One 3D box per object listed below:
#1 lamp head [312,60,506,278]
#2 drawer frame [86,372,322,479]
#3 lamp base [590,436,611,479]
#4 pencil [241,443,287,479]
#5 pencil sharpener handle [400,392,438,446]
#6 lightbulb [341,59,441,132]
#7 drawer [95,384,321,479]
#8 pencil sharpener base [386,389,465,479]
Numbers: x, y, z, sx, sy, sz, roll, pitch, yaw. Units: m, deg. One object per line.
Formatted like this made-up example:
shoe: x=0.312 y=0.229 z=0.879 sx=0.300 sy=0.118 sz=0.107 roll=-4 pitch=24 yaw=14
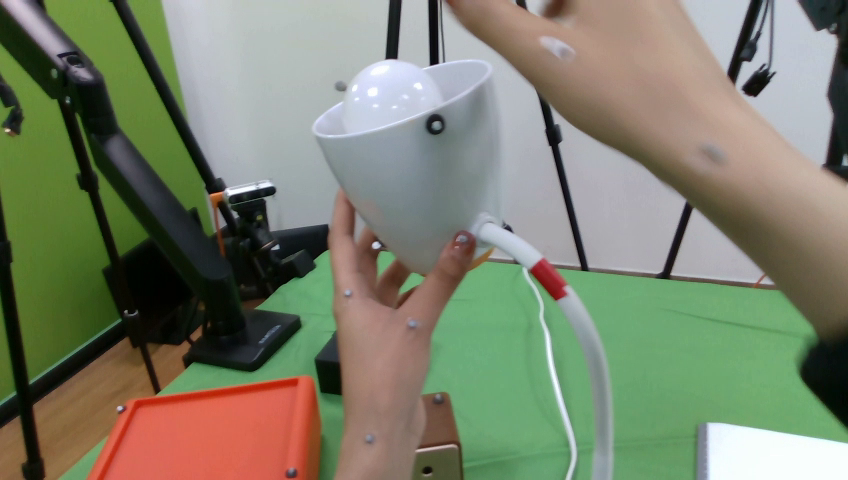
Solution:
lamp head: x=0.005 y=-0.037 z=0.377 sx=0.112 sy=0.124 sz=0.111 roll=-19 pitch=22 yaw=8
drawer frame: x=-0.203 y=0.229 z=0.562 sx=0.202 sy=0.083 sz=0.211 roll=-8 pitch=24 yaw=-4
lamp base: x=0.123 y=0.230 z=0.380 sx=0.161 sy=0.181 sz=0.177 roll=-9 pitch=22 yaw=-6
pencil: x=-0.196 y=0.248 z=0.533 sx=0.012 sy=0.012 sz=0.194 roll=18 pitch=46 yaw=41
pencil sharpener handle: x=-0.007 y=0.169 z=0.595 sx=0.036 sy=0.068 sz=0.030 roll=-2 pitch=25 yaw=-6
lightbulb: x=-0.010 y=-0.057 z=0.370 sx=0.059 sy=0.109 sz=0.059 roll=-19 pitch=33 yaw=13
drawer: x=-0.201 y=0.232 z=0.560 sx=0.195 sy=0.074 sz=0.210 roll=-8 pitch=24 yaw=-4
pencil sharpener base: x=0.002 y=0.201 z=0.555 sx=0.061 sy=0.108 sz=0.076 roll=-7 pitch=25 yaw=-4
